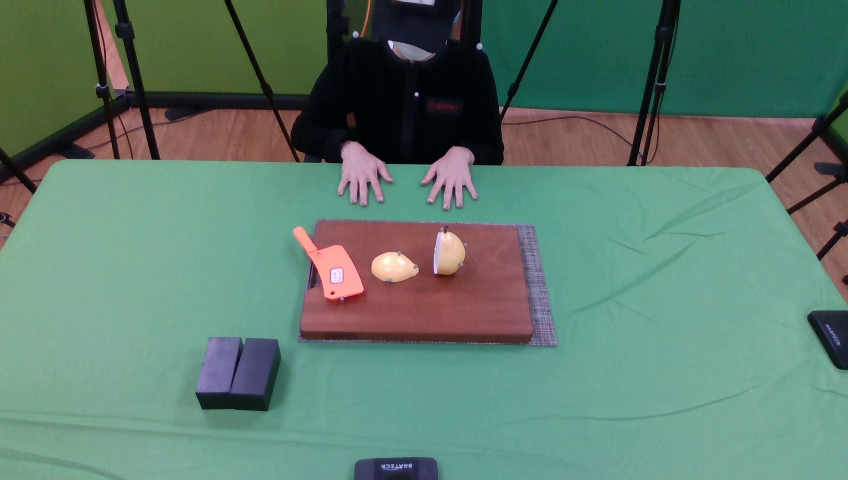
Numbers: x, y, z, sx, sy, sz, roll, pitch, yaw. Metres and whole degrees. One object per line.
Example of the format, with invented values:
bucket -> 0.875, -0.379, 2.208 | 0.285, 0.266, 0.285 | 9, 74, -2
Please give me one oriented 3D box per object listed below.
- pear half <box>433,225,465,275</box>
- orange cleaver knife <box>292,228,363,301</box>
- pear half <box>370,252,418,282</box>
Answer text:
pear half -> 0.046, 0.014, 1.089 | 0.056, 0.110, 0.076 | -3, 50, -7
orange cleaver knife -> -0.181, 0.037, 1.114 | 0.077, 0.012, 0.210 | -23, 49, -19
pear half -> -0.056, 0.044, 1.109 | 0.088, 0.031, 0.070 | 4, 52, 4
